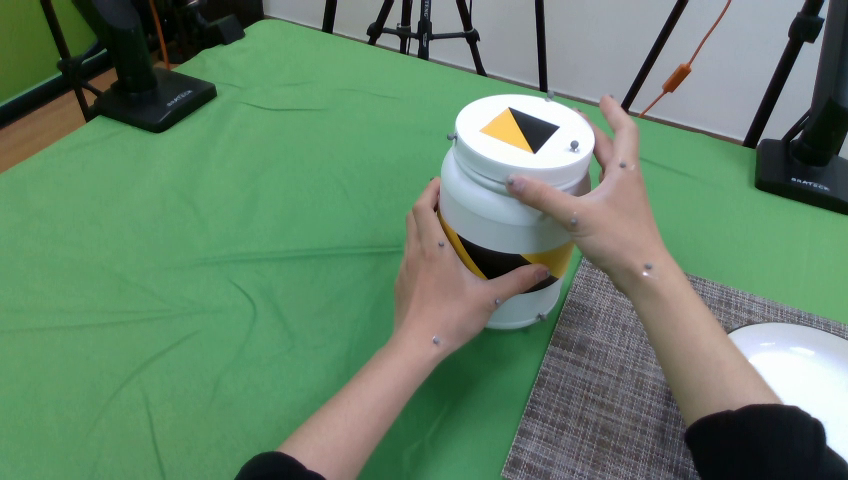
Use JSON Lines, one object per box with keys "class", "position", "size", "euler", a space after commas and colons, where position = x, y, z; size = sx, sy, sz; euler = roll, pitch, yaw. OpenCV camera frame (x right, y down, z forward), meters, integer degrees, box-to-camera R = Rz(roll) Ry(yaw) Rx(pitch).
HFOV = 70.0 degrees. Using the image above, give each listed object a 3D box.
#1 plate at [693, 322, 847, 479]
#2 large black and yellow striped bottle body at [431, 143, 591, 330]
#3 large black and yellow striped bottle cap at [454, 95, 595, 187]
{"class": "plate", "position": [0.321, 0.158, 0.490], "size": [0.208, 0.039, 0.205], "euler": [3, 43, -2]}
{"class": "large black and yellow striped bottle body", "position": [0.076, -0.021, 0.555], "size": [0.131, 0.185, 0.129], "euler": [3, 43, -2]}
{"class": "large black and yellow striped bottle cap", "position": [0.082, -0.084, 0.497], "size": [0.115, 0.019, 0.114], "euler": [2, 42, -1]}
